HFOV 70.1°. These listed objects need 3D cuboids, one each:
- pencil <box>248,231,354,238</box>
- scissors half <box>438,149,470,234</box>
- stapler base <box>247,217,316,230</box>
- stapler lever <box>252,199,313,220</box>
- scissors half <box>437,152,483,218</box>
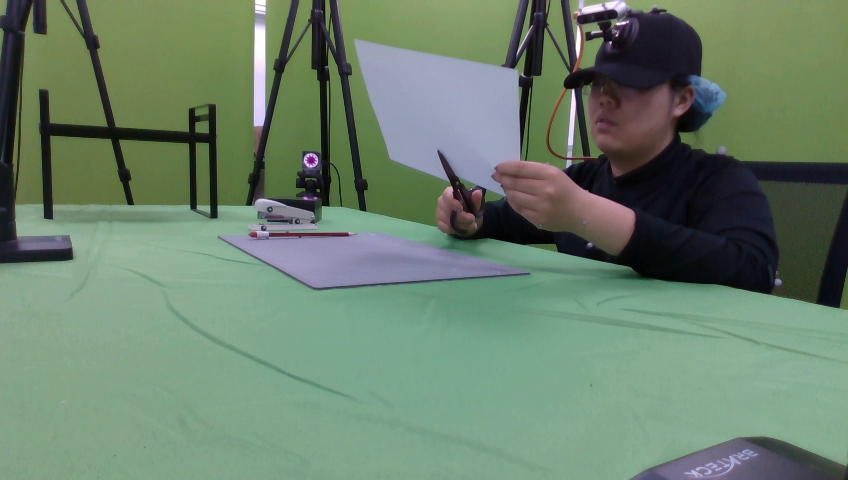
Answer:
[{"bbox_3d":[-0.206,-0.009,1.039,0.195,0.012,0.012,0,8,-36],"label":"pencil"},{"bbox_3d":[0.044,-0.072,0.948,0.013,0.175,0.040,20,55,35],"label":"scissors half"},{"bbox_3d":[-0.276,-0.033,1.172,0.131,0.024,0.041,0,10,-37],"label":"stapler base"},{"bbox_3d":[-0.273,-0.058,1.170,0.119,0.040,0.026,0,10,-37],"label":"stapler lever"},{"bbox_3d":[0.057,-0.088,0.954,0.012,0.040,0.176,26,-11,36],"label":"scissors half"}]
